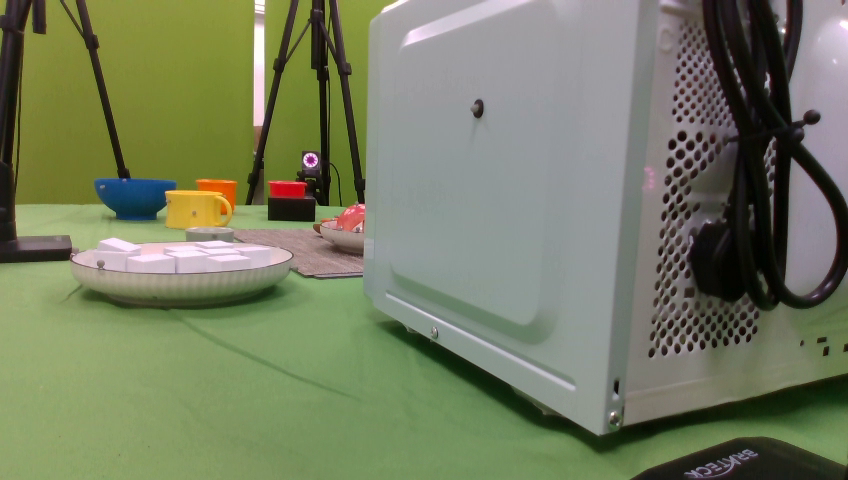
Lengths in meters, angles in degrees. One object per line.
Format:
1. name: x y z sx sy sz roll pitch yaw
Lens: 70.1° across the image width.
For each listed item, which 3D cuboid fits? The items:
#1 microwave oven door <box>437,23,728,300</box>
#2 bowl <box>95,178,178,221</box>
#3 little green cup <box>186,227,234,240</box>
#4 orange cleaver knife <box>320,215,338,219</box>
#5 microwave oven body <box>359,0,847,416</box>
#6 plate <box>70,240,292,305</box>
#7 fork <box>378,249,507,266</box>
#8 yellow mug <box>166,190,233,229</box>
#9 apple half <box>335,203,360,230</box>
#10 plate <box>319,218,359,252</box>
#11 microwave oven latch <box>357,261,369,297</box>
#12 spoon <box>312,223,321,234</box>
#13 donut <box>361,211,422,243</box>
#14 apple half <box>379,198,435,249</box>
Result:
1. microwave oven door: 0.181 -0.072 0.621 0.358 0.243 0.039 -2 9 -29
2. bowl: -0.576 -0.081 1.217 0.151 0.077 0.151 4 8 0
3. little green cup: -0.284 0.005 0.805 0.061 0.038 0.061 2 8 0
4. orange cleaver knife: -0.142 -0.057 1.394 0.077 0.012 0.212 2 7 44
5. microwave oven body: 0.211 -0.047 0.474 0.444 0.260 0.324 -1 7 -28
6. plate: -0.242 0.032 0.618 0.208 0.039 0.207 2 8 0
7. fork: 0.031 0.022 0.819 0.208 0.018 0.028 -5 6 -33
8. yellow mug: -0.415 -0.057 1.132 0.130 0.064 0.100 6 8 16
9. apple half: -0.116 -0.038 0.959 0.081 0.033 0.081 -38 8 7
10. plate: -0.059 -0.007 0.939 0.209 0.038 0.209 3 8 0
11. microwave oven latch: -0.019 0.033 0.531 0.079 0.029 0.030 -1 7 -27
12. spoon: -0.112 -0.022 1.095 0.195 0.021 0.041 -4 -15 -37
13. donut: -0.051 -0.020 0.958 0.099 0.048 0.099 5 7 0
14. apple half: -0.020 -0.030 0.891 0.081 0.053 0.074 -2 49 -26
